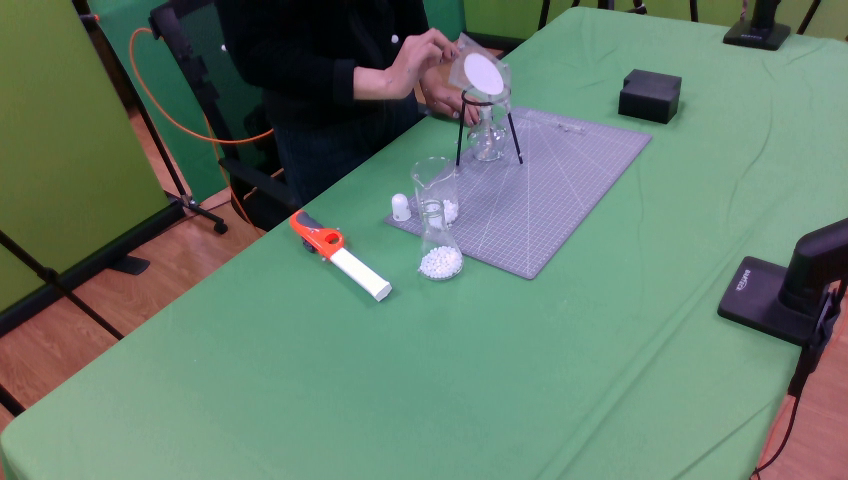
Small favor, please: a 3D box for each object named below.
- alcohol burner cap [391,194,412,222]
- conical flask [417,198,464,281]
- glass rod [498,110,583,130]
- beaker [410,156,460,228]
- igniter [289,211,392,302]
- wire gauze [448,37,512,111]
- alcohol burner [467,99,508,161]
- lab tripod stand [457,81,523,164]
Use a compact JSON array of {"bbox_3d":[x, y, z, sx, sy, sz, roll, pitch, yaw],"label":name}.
[{"bbox_3d":[-0.041,-0.057,1.040,0.034,0.048,0.033,-6,40,5],"label":"alcohol burner cap"},{"bbox_3d":[0.019,-0.004,0.907,0.075,0.122,0.075,-5,40,5],"label":"conical flask"},{"bbox_3d":[0.234,-0.245,1.235,0.198,0.008,0.008,21,49,34],"label":"glass rod"},{"bbox_3d":[0.020,-0.076,1.006,0.074,0.101,0.084,3,42,15],"label":"beaker"},{"bbox_3d":[-0.145,0.019,0.986,0.057,0.025,0.274,-40,48,-18],"label":"igniter"},{"bbox_3d":[0.104,-0.288,1.054,0.122,0.011,0.124,24,52,-18],"label":"wire gauze"},{"bbox_3d":[0.119,-0.210,1.134,0.078,0.119,0.077,-4,39,4],"label":"alcohol burner"},{"bbox_3d":[0.120,-0.219,1.130,0.148,0.132,0.147,-7,39,6],"label":"lab tripod stand"}]
